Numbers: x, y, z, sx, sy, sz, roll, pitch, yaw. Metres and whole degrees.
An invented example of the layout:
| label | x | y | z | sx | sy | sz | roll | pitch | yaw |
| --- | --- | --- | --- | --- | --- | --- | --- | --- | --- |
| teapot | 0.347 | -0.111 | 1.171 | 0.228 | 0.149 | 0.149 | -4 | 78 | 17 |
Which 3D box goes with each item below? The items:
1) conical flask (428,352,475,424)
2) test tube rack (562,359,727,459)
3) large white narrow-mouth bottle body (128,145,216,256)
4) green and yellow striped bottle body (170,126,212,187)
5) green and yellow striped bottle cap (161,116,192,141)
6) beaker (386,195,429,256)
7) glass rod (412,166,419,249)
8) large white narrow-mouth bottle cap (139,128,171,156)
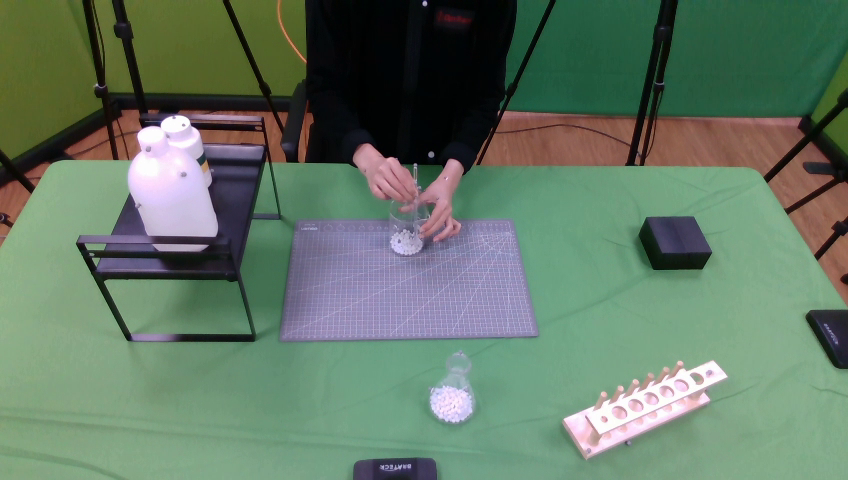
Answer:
| label | x | y | z | sx | sy | sz | roll | pitch | yaw |
| --- | --- | --- | --- | --- | --- | --- | --- | --- | --- |
| conical flask | 0.046 | 0.220 | 0.920 | 0.075 | 0.122 | 0.075 | 2 | 46 | -2 |
| test tube rack | 0.341 | 0.247 | 0.940 | 0.243 | 0.085 | 0.066 | -16 | 49 | -18 |
| large white narrow-mouth bottle body | -0.366 | -0.073 | 0.872 | 0.102 | 0.195 | 0.101 | 3 | 47 | -3 |
| green and yellow striped bottle body | -0.389 | -0.139 | 0.984 | 0.063 | 0.120 | 0.063 | 2 | 46 | -2 |
| green and yellow striped bottle cap | -0.387 | -0.174 | 0.946 | 0.045 | 0.020 | 0.045 | 3 | 44 | -3 |
| beaker | -0.031 | -0.024 | 1.161 | 0.084 | 0.101 | 0.073 | 19 | 48 | 13 |
| glass rod | -0.015 | -0.055 | 1.110 | 0.008 | 0.201 | 0.008 | -1 | 44 | 1 |
| large white narrow-mouth bottle cap | -0.358 | -0.131 | 0.808 | 0.038 | 0.024 | 0.037 | 3 | 47 | -3 |
